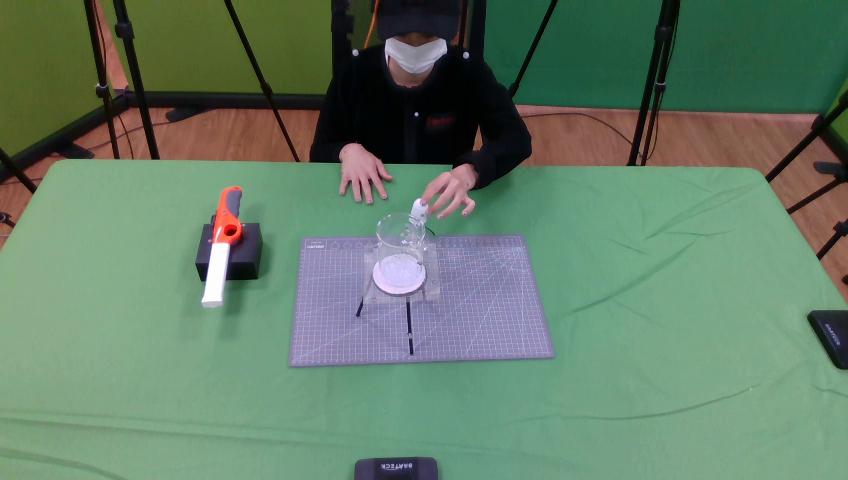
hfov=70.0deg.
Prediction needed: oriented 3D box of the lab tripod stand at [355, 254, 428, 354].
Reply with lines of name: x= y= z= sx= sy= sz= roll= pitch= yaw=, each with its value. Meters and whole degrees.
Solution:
lab tripod stand: x=-0.046 y=0.100 z=1.017 sx=0.148 sy=0.132 sz=0.147 roll=1 pitch=47 yaw=-1

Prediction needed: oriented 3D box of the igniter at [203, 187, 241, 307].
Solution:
igniter: x=-0.365 y=0.003 z=1.098 sx=0.057 sy=0.025 sz=0.274 roll=-1 pitch=49 yaw=-7

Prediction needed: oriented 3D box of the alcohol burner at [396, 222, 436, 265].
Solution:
alcohol burner: x=-0.015 y=-0.011 z=1.140 sx=0.078 sy=0.120 sz=0.077 roll=2 pitch=44 yaw=-1

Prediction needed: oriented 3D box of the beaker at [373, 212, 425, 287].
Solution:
beaker: x=-0.036 y=0.019 z=0.936 sx=0.074 sy=0.101 sz=0.083 roll=-29 pitch=54 yaw=-26

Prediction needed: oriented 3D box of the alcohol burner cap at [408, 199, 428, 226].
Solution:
alcohol burner cap: x=-0.010 y=-0.053 z=1.088 sx=0.034 sy=0.048 sz=0.033 roll=7 pitch=47 yaw=-7

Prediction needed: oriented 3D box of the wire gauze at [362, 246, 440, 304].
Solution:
wire gauze: x=-0.038 y=0.052 z=0.972 sx=0.121 sy=0.011 sz=0.124 roll=0 pitch=44 yaw=-5
